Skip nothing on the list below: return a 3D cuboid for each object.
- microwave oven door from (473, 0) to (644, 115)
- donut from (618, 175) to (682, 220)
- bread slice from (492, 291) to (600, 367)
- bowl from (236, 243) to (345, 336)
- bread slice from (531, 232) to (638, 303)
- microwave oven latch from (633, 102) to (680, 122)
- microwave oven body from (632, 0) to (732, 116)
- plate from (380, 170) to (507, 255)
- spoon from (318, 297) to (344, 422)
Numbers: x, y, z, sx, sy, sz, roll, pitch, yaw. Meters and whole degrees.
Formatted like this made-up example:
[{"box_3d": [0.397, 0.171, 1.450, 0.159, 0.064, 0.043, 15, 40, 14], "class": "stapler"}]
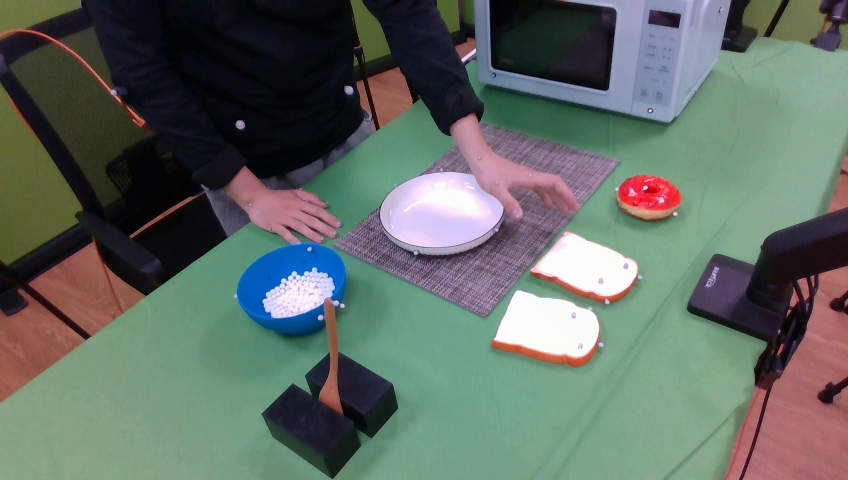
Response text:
[{"box_3d": [0.257, -0.396, 1.199, 0.353, 0.245, 0.039, 21, 48, 29], "class": "microwave oven door"}, {"box_3d": [0.366, -0.070, 0.981, 0.099, 0.048, 0.098, -3, 39, 3], "class": "donut"}, {"box_3d": [0.169, 0.118, 0.811, 0.131, 0.019, 0.105, 11, 44, 21], "class": "bread slice"}, {"box_3d": [-0.180, 0.082, 0.855, 0.151, 0.077, 0.150, -4, 41, 4], "class": "bowl"}, {"box_3d": [0.242, 0.042, 0.888, 0.133, 0.018, 0.107, 22, 49, 31], "class": "bread slice"}, {"box_3d": [0.444, -0.249, 1.157, 0.078, 0.029, 0.030, 21, 49, 30], "class": "microwave oven latch"}, {"box_3d": [0.377, -0.462, 1.267, 0.438, 0.261, 0.327, 21, 48, 30], "class": "microwave oven body"}, {"box_3d": [0.033, -0.041, 0.995, 0.207, 0.039, 0.206, -4, 40, 4], "class": "plate"}, {"box_3d": [-0.107, 0.139, 0.687, 0.041, 0.194, 0.022, 27, 37, 31], "class": "spoon"}]
